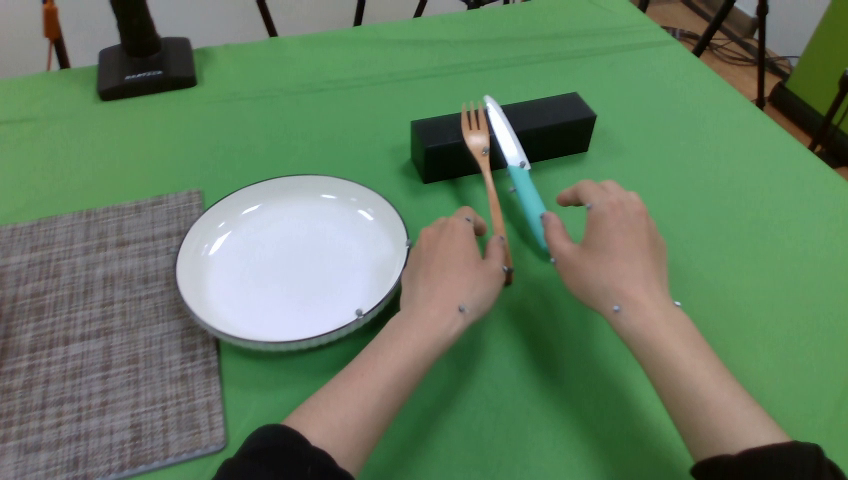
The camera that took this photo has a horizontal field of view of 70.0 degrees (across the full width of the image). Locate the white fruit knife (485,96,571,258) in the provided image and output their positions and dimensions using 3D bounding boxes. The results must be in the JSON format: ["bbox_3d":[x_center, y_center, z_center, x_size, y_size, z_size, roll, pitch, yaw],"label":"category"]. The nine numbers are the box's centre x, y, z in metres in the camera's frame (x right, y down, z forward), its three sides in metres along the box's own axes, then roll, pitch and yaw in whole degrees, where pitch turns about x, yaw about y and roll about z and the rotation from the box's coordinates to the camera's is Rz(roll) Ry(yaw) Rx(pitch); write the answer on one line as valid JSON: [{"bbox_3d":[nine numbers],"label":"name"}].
[{"bbox_3d":[0.101,-0.070,0.631,0.027,0.016,0.205,-12,64,-15],"label":"white fruit knife"}]

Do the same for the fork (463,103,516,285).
[{"bbox_3d":[0.067,-0.052,0.609,0.028,0.019,0.205,-3,63,-14],"label":"fork"}]

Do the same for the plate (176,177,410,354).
[{"bbox_3d":[-0.116,0.022,0.561,0.208,0.039,0.205,1,46,-1],"label":"plate"}]
